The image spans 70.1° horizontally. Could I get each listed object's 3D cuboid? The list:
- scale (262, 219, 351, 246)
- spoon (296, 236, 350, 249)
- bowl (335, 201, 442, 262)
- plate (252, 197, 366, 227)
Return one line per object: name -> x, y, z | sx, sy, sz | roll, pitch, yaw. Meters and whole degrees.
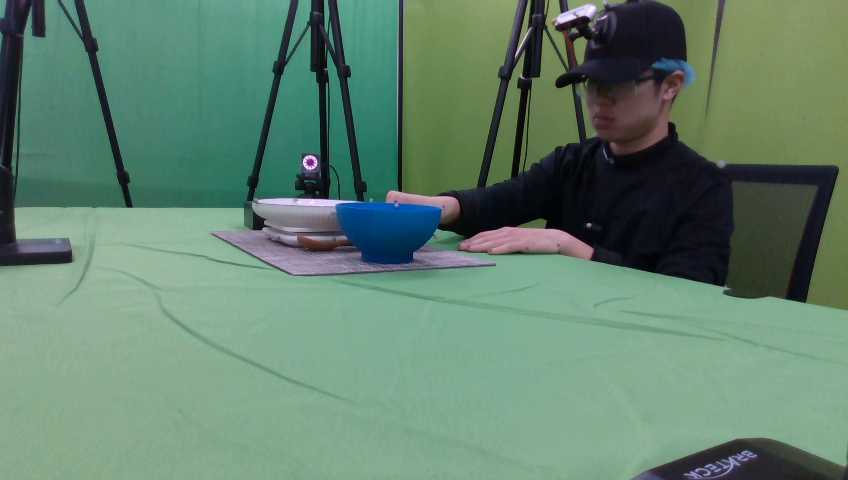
scale -> -0.160, -0.015, 1.027 | 0.202, 0.031, 0.148 | -2, 8, -32
spoon -> -0.104, 0.002, 0.940 | 0.195, 0.021, 0.041 | -2, -6, -31
bowl -> -0.051, -0.012, 0.848 | 0.151, 0.077, 0.151 | 2, 7, 0
plate -> -0.179, -0.047, 1.012 | 0.209, 0.038, 0.209 | 2, 6, 0
